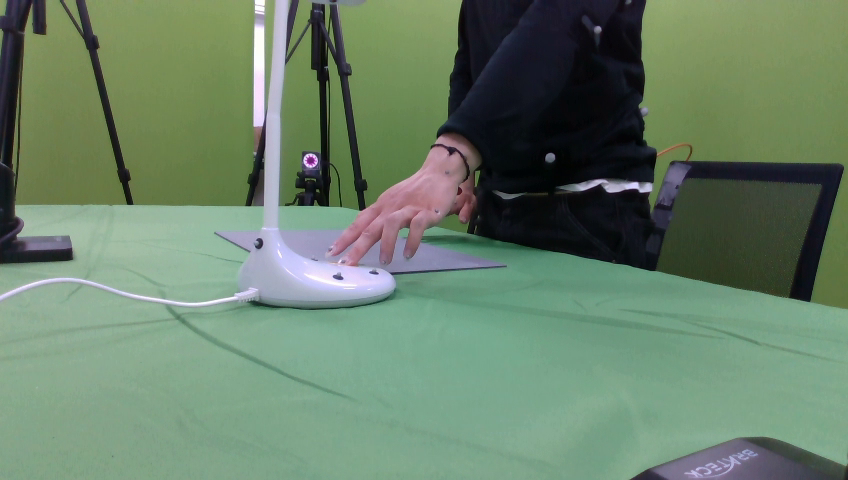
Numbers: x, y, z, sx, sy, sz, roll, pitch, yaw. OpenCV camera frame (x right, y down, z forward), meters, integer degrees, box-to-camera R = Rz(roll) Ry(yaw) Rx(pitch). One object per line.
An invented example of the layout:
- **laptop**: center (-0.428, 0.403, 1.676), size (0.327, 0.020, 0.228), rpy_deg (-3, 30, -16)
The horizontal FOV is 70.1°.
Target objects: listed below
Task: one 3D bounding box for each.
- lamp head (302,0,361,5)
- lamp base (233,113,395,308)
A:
- **lamp head**: center (-0.094, -0.314, 0.610), size (0.112, 0.123, 0.112), rpy_deg (-4, 50, 5)
- **lamp base**: center (-0.113, -0.033, 0.600), size (0.160, 0.180, 0.180), rpy_deg (7, 11, 28)
